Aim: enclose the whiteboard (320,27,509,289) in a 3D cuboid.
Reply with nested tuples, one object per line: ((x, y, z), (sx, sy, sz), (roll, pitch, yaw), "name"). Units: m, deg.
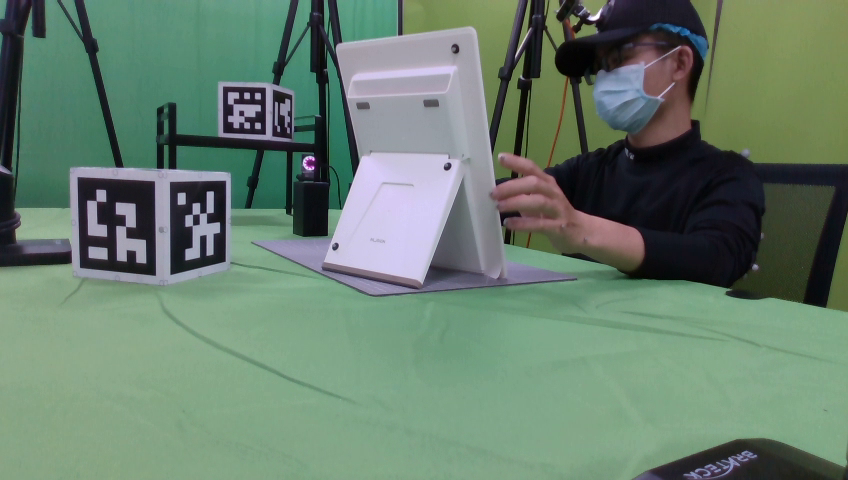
((-0.045, -0.076, 0.721), (0.216, 0.305, 0.144), (9, 29, 38), "whiteboard")

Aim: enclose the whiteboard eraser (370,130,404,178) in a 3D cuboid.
((-0.059, -0.137, 0.966), (0.041, 0.019, 0.101), (26, -22, 25), "whiteboard eraser")
